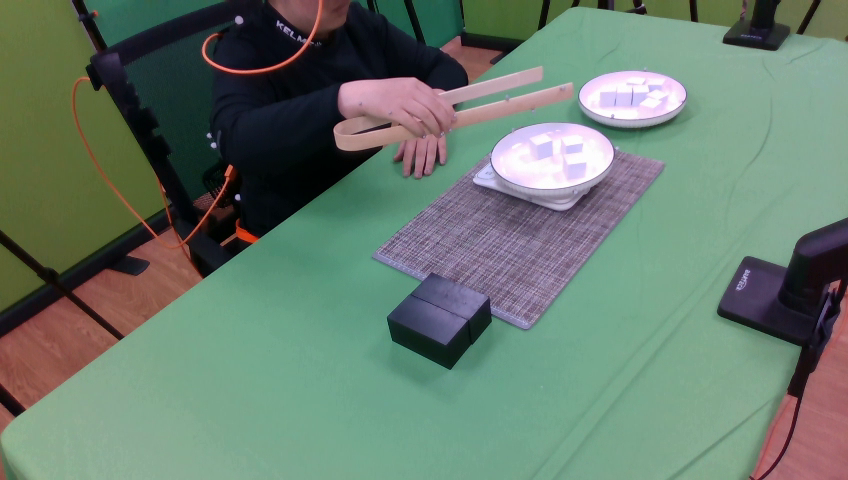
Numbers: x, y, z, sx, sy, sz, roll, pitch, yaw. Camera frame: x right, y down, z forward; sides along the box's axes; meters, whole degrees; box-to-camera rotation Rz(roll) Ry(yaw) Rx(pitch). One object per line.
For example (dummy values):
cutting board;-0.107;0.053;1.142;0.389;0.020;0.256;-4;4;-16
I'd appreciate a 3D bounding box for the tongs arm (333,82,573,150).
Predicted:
tongs arm;0.052;-0.196;0.932;0.386;0.026;0.050;-18;39;-16

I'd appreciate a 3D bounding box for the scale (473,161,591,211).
scale;0.202;-0.121;1.074;0.199;0.032;0.149;23;49;33

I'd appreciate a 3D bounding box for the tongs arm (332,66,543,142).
tongs arm;0.032;-0.223;0.973;0.389;0.028;0.028;-20;43;-19

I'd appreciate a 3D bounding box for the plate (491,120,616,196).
plate;0.221;-0.137;1.038;0.207;0.039;0.206;-6;41;5

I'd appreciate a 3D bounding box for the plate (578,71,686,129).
plate;0.416;-0.280;1.222;0.209;0.038;0.208;-5;41;5
